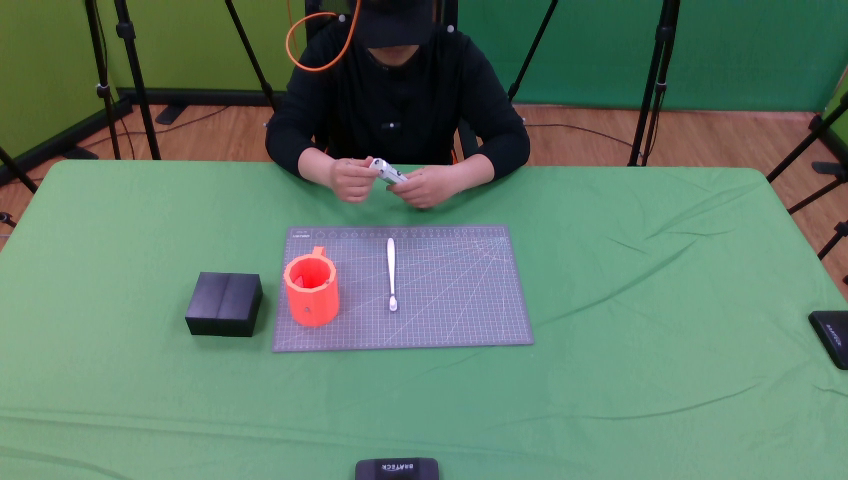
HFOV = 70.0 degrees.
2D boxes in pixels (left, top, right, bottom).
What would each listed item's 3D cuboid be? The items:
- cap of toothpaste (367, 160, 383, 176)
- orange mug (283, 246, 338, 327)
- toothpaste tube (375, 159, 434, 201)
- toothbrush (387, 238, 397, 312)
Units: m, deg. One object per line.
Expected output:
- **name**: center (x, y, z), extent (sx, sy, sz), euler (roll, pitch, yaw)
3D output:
- **cap of toothpaste**: center (-0.095, -0.138, 1.149), extent (0.037, 0.037, 0.011), euler (-25, 57, -24)
- **orange mug**: center (-0.192, 0.074, 1.056), extent (0.083, 0.101, 0.125), euler (5, 50, 1)
- **toothpaste tube**: center (-0.046, -0.117, 1.223), extent (0.055, 0.166, 0.034), euler (23, 85, 46)
- **toothbrush**: center (-0.061, 0.059, 1.136), extent (0.014, 0.017, 0.180), euler (-9, 45, 4)
